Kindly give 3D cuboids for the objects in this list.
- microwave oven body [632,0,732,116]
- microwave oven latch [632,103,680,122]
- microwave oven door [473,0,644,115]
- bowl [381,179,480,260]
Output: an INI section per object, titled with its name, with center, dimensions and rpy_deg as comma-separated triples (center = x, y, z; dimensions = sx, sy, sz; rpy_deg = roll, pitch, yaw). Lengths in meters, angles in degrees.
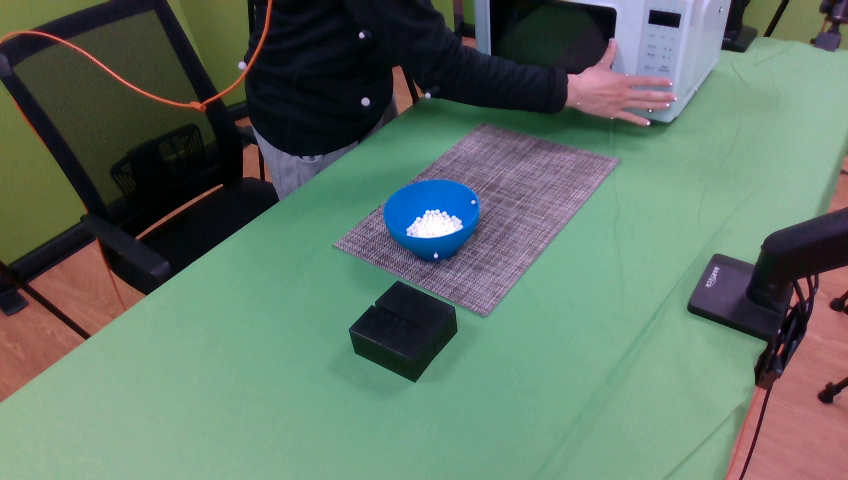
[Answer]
[microwave oven body]
center = 0.377, -0.463, 1.267
dimensions = 0.438, 0.261, 0.327
rpy_deg = 21, 49, 30
[microwave oven latch]
center = 0.443, -0.249, 1.158
dimensions = 0.078, 0.029, 0.030
rpy_deg = 20, 48, 29
[microwave oven door]
center = 0.257, -0.396, 1.199
dimensions = 0.353, 0.245, 0.039
rpy_deg = 21, 48, 29
[bowl]
center = 0.014, -0.021, 0.942
dimensions = 0.151, 0.077, 0.150
rpy_deg = -4, 40, 4
